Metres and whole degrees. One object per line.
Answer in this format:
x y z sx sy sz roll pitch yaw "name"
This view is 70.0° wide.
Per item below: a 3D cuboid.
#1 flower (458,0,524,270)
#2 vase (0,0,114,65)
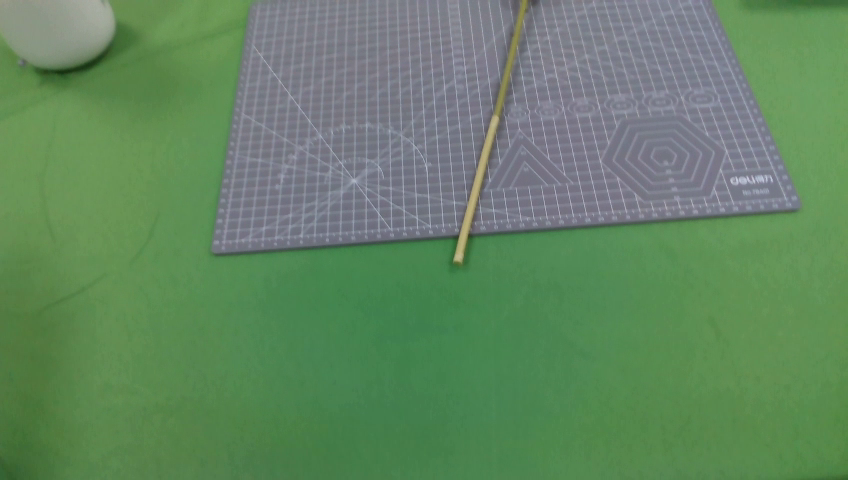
0.068 -0.138 0.528 0.044 0.038 0.359 25 64 -24 "flower"
-0.354 -0.250 0.518 0.098 0.202 0.097 -1 58 3 "vase"
